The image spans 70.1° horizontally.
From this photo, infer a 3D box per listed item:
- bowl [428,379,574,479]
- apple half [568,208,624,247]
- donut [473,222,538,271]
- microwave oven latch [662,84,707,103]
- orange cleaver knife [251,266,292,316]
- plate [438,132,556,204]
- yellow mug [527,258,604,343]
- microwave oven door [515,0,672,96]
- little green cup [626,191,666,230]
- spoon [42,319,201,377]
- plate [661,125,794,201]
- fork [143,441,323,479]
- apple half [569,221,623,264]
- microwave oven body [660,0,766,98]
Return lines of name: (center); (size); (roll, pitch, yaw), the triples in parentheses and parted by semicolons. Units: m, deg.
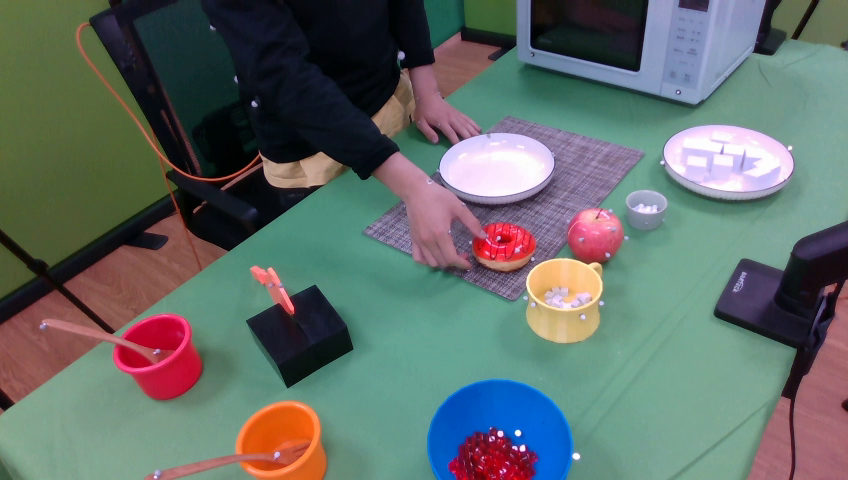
bowl: (0.082, 0.233, 0.644); (0.151, 0.077, 0.150); (-4, 39, 4)
apple half: (0.259, -0.014, 0.914); (0.080, 0.075, 0.053); (0, 36, 15)
donut: (0.124, 0.009, 0.923); (0.099, 0.048, 0.098); (-4, 38, 4)
microwave oven latch: (0.517, -0.296, 1.204); (0.078, 0.029, 0.030); (27, 52, 35)
orange cleaver knife: (-0.221, 0.071, 0.873); (0.012, 0.077, 0.210); (-25, 11, -21)
plate: (0.130, -0.125, 1.084); (0.209, 0.038, 0.208); (-4, 40, 4)
yellow mug: (0.201, 0.073, 0.825); (0.131, 0.064, 0.099); (-32, 46, -27)
microwave oven door: (0.343, -0.454, 1.259); (0.353, 0.245, 0.039); (26, 51, 33)
little green cup: (0.352, -0.046, 0.963); (0.061, 0.039, 0.061); (-4, 40, 4)
spoon: (-0.385, 0.135, 0.779); (0.195, 0.021, 0.041); (29, 36, -26)
plate: (0.513, -0.128, 1.035); (0.207, 0.039, 0.206); (-4, 40, 4)
fork: (-0.189, 0.231, 0.631); (0.028, 0.018, 0.209); (35, 12, 37)
apple half: (0.251, 0.010, 0.884); (0.081, 0.081, 0.032); (3, 37, 12)
microwave oven body: (0.472, -0.513, 1.317); (0.438, 0.261, 0.327); (26, 51, 34)
